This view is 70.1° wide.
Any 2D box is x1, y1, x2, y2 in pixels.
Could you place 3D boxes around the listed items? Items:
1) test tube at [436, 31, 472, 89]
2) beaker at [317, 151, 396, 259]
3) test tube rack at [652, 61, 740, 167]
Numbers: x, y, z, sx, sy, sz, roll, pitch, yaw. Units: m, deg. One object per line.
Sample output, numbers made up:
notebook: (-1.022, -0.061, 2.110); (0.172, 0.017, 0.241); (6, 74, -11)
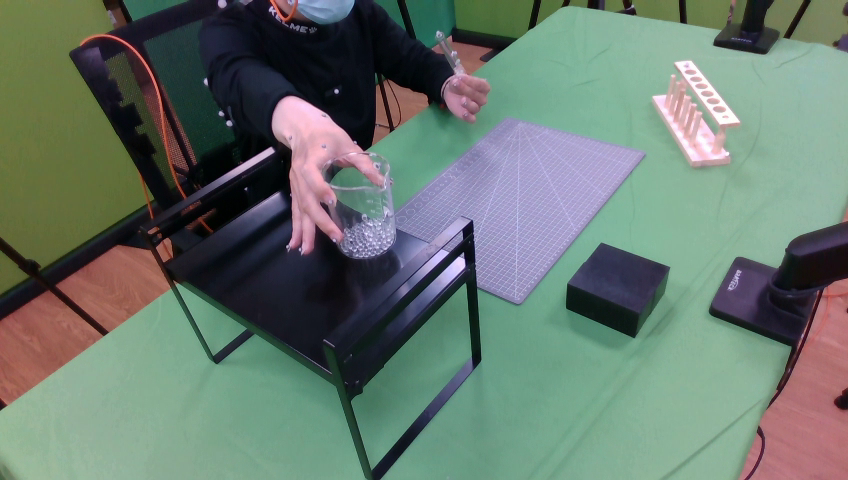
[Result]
test tube: (0.054, -0.305, 1.039); (0.017, 0.151, 0.017); (-9, 66, 21)
beaker: (-0.067, -0.035, 0.659); (0.083, 0.100, 0.074); (29, 50, 34)
test tube rack: (0.499, -0.242, 1.130); (0.067, 0.085, 0.241); (-5, 41, 3)
